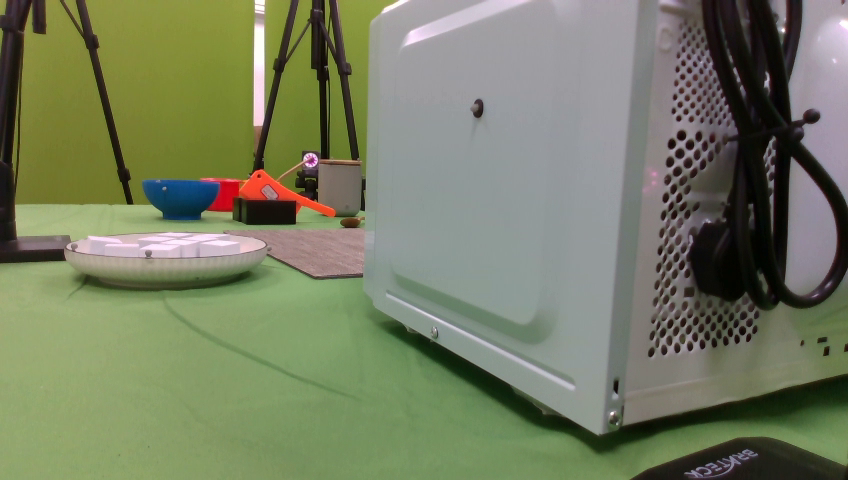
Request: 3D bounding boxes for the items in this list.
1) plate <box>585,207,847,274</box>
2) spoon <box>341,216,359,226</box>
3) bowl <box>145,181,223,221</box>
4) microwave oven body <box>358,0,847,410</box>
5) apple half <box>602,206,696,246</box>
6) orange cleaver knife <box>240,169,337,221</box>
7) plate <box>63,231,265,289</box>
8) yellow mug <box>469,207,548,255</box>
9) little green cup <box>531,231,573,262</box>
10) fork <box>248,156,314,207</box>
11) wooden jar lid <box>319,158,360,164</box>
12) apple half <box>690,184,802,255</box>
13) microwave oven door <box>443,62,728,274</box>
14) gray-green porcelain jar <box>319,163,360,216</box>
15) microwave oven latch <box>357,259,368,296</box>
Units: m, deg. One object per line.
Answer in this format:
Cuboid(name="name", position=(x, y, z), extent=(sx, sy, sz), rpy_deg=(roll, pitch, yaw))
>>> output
Cuboid(name="plate", position=(0.244, -0.002, 0.516), extent=(0.209, 0.038, 0.209), rpy_deg=(1, 7, 0))
Cuboid(name="spoon", position=(-0.132, -0.047, 1.305), extent=(0.041, 0.021, 0.194), rpy_deg=(-14, 4, 14))
Cuboid(name="bowl", position=(-0.499, -0.081, 1.261), extent=(0.151, 0.077, 0.151), rpy_deg=(2, 8, 0))
Cuboid(name="microwave oven body", position=(0.210, -0.051, 0.471), extent=(0.444, 0.260, 0.324), rpy_deg=(-1, 7, -28))
Cuboid(name="apple half", position=(0.205, -0.015, 0.543), extent=(0.081, 0.033, 0.081), rpy_deg=(4, 9, 0))
Cuboid(name="orange cleaver knife", position=(-0.287, -0.081, 1.299), extent=(0.212, 0.077, 0.012), rpy_deg=(25, -2, -31))
Cuboid(name="plate", position=(-0.288, 0.021, 0.687), extent=(0.208, 0.039, 0.207), rpy_deg=(2, 8, 0))
Cuboid(name="yellow mug", position=(0.137, -0.015, 0.951), extent=(0.131, 0.064, 0.099), rpy_deg=(2, 7, -21))
Cuboid(name="little green cup", position=(0.185, 0.010, 0.879), extent=(0.061, 0.038, 0.061), rpy_deg=(2, 8, 0))
Cuboid(name="fork", position=(-0.360, -0.147, 1.523), extent=(0.207, 0.019, 0.028), rpy_deg=(-43, 17, -6))
Cuboid(name="wooden jar lid", position=(-0.203, -0.189, 1.482), extent=(0.108, 0.020, 0.108), rpy_deg=(2, 10, 0))
Cuboid(name="apple half", position=(0.276, -0.019, 0.513), extent=(0.075, 0.053, 0.080), rpy_deg=(16, -3, -17))
Cuboid(name="microwave oven door", position=(0.189, -0.097, 0.786), extent=(0.354, 0.243, 0.039), rpy_deg=(6, 10, 31))
Cuboid(name="gray-green porcelain jar", position=(-0.204, -0.126, 1.490), extent=(0.106, 0.126, 0.106), rpy_deg=(2, 8, 0))
Cuboid(name="microwave oven latch", position=(-0.019, 0.031, 0.529), extent=(0.079, 0.029, 0.030), rpy_deg=(-1, 7, -26))
